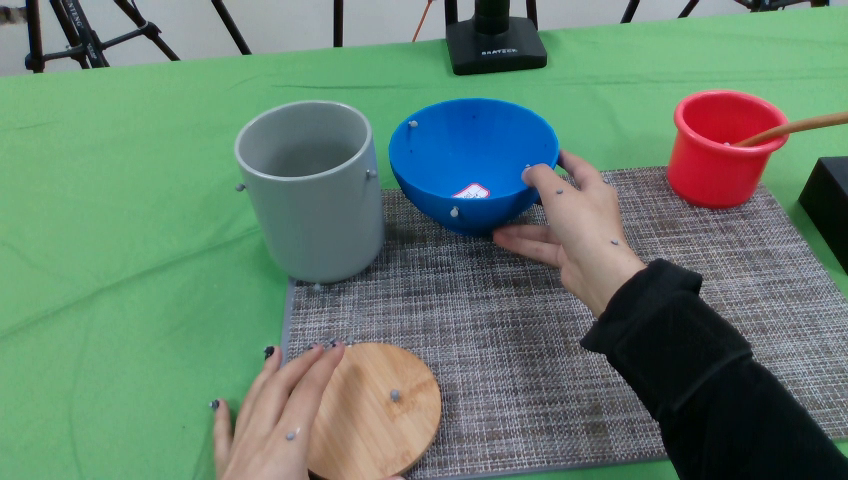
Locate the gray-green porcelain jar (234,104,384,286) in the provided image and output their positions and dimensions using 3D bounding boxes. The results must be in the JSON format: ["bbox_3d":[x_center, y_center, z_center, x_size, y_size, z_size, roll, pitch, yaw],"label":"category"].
[{"bbox_3d":[-0.090,-0.032,0.509,0.106,0.128,0.105,-2,45,2],"label":"gray-green porcelain jar"}]

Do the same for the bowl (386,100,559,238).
[{"bbox_3d":[0.044,-0.055,0.557,0.151,0.077,0.150,-2,45,2],"label":"bowl"}]

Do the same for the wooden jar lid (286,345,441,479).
[{"bbox_3d":[-0.042,0.124,0.427,0.108,0.021,0.107,-3,46,4],"label":"wooden jar lid"}]

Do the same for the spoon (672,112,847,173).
[{"bbox_3d":[0.301,-0.087,0.526,0.041,0.193,0.022,-39,100,-27],"label":"spoon"}]
